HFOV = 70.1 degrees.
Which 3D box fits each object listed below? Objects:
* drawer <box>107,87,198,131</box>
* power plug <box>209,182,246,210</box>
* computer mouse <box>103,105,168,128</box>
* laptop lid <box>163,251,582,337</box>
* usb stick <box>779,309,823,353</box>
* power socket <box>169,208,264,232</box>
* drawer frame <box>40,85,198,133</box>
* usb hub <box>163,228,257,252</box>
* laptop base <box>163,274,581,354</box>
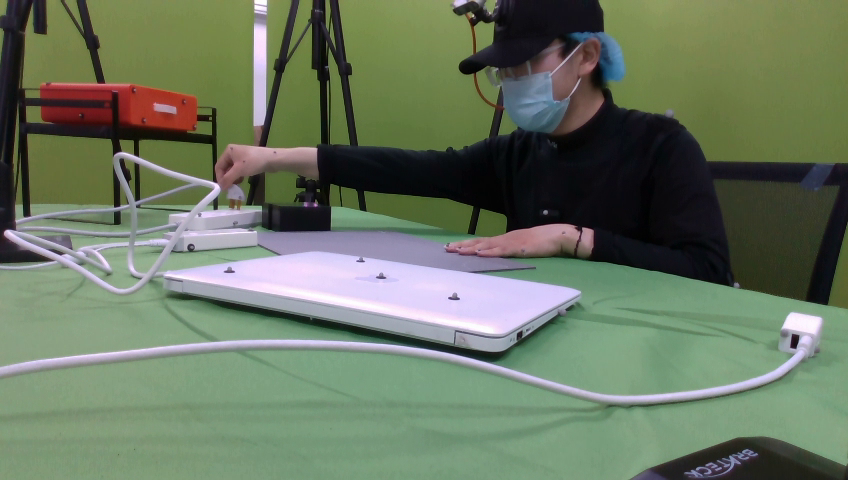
[{"bbox_3d":[-0.609,-0.264,1.235,0.211,0.073,0.195,4,8,16],"label":"drawer"},{"bbox_3d":[-0.389,-0.087,1.203,0.072,0.052,0.035,5,-3,15],"label":"power plug"},{"bbox_3d":[-0.582,-0.249,1.223,0.118,0.041,0.062,2,3,-39],"label":"computer mouse"},{"bbox_3d":[-0.045,0.040,0.598,0.355,0.013,0.243,7,7,30],"label":"laptop lid"},{"bbox_3d":[0.311,0.072,0.497,0.027,0.021,0.059,7,15,34],"label":"usb stick"},{"bbox_3d":[-0.381,-0.038,1.129,0.072,0.032,0.227,4,8,16],"label":"power socket"},{"bbox_3d":[-0.612,-0.266,1.235,0.213,0.082,0.202,4,8,15],"label":"drawer frame"},{"bbox_3d":[-0.314,0.000,0.894,0.049,0.025,0.126,9,11,41],"label":"usb hub"},{"bbox_3d":[-0.046,0.053,0.598,0.353,0.023,0.236,6,6,28],"label":"laptop base"}]
